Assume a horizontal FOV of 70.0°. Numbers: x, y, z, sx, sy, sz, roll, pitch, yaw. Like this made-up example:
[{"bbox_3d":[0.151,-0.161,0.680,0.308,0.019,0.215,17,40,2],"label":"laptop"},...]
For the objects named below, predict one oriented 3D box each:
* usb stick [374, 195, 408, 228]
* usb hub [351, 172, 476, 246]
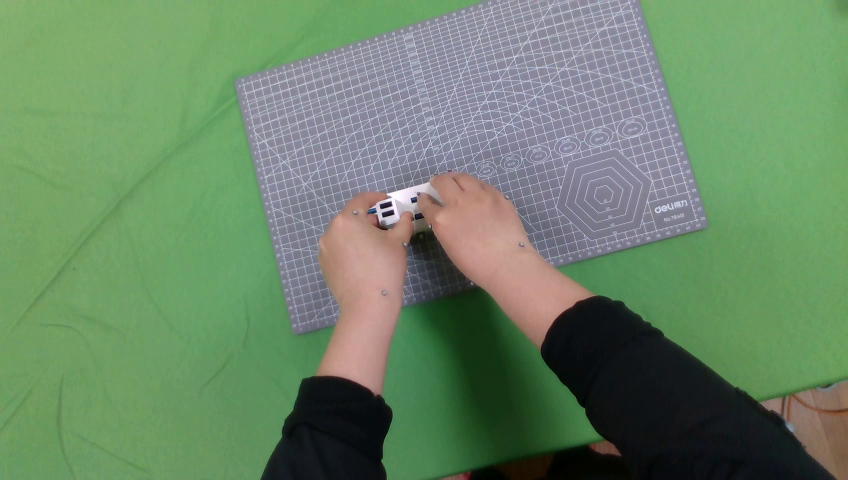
[{"bbox_3d":[-0.032,-0.028,0.615,0.021,0.059,0.027,-18,81,7],"label":"usb stick"},{"bbox_3d":[-0.012,-0.033,0.643,0.125,0.025,0.049,-14,83,6],"label":"usb hub"}]
